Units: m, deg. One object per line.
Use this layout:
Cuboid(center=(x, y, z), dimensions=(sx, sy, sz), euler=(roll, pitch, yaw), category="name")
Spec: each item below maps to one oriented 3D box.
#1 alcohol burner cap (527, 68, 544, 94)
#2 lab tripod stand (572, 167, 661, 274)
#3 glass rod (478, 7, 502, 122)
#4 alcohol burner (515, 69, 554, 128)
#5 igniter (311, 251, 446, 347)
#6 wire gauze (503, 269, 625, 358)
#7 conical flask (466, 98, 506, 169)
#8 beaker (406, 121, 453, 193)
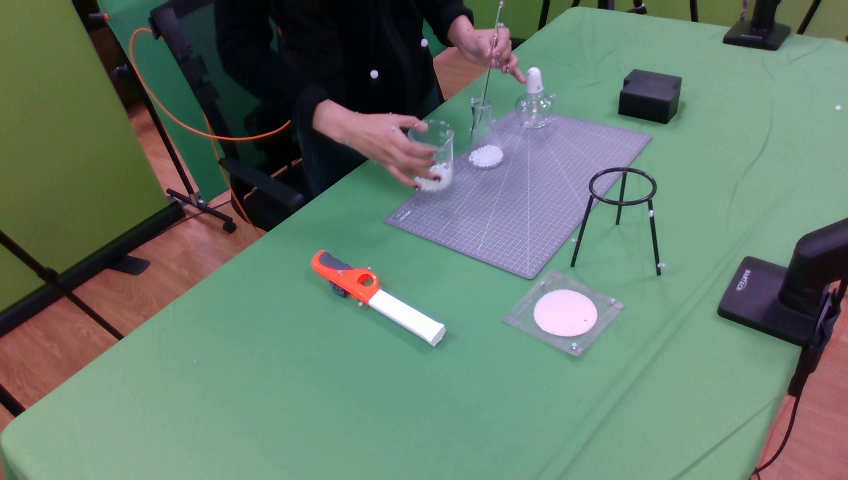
Cuboid(center=(0.216, -0.312, 1.179), dimensions=(0.034, 0.048, 0.033), euler=(-9, 40, 8), category="alcohol burner cap")
Cuboid(center=(0.283, -0.030, 0.879), dimensions=(0.148, 0.132, 0.147), euler=(-7, 38, 6), category="lab tripod stand")
Cuboid(center=(0.114, -0.300, 1.050), dimensions=(0.008, 0.200, 0.008), euler=(7, 28, -3), category="glass rod")
Cuboid(center=(0.221, -0.285, 1.203), dimensions=(0.078, 0.119, 0.077), euler=(-4, 39, 4), category="alcohol burner")
Cuboid(center=(-0.078, 0.081, 0.899), dimensions=(0.274, 0.025, 0.057), euler=(27, 62, 35), category="igniter")
Cuboid(center=(0.194, 0.100, 0.840), dimensions=(0.120, 0.011, 0.125), euler=(27, 54, 36), category="wire gauze")
Cuboid(center=(0.111, -0.199, 1.116), dimensions=(0.075, 0.122, 0.075), euler=(-5, 40, 5), category="conical flask")
Cuboid(center=(0.014, -0.133, 0.998), dimensions=(0.074, 0.100, 0.083), euler=(-19, 45, -15), category="beaker")
